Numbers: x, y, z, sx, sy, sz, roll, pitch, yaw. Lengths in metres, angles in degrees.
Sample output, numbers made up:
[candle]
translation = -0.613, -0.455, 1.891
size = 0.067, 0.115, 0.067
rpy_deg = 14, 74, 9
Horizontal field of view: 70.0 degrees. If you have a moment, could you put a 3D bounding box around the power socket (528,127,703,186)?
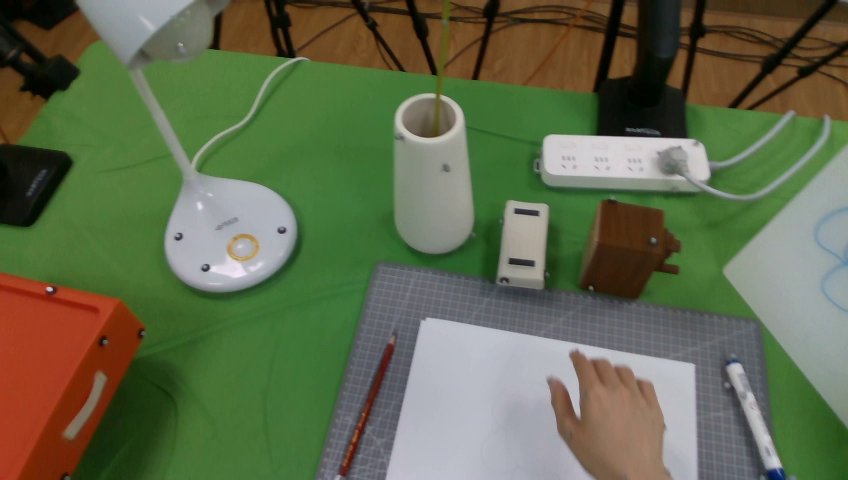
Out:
[power socket]
translation = 0.253, -0.111, 0.801
size = 0.227, 0.033, 0.071
rpy_deg = 3, 59, 3

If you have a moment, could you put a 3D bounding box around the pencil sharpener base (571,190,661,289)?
[pencil sharpener base]
translation = 0.216, 0.003, 0.686
size = 0.076, 0.108, 0.061
rpy_deg = 10, 58, 8

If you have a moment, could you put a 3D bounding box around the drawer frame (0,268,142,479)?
[drawer frame]
translation = -0.428, 0.131, 0.586
size = 0.213, 0.083, 0.200
rpy_deg = 11, 59, 6

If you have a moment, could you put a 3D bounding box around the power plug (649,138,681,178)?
[power plug]
translation = 0.301, -0.097, 0.763
size = 0.035, 0.053, 0.072
rpy_deg = 12, 60, 9

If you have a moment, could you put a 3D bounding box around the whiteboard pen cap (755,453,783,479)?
[whiteboard pen cap]
translation = 0.335, 0.223, 0.588
size = 0.018, 0.018, 0.033
rpy_deg = -6, 58, -2

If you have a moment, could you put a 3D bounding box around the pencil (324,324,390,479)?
[pencil]
translation = -0.069, 0.173, 0.641
size = 0.012, 0.012, 0.193
rpy_deg = 14, 58, 11

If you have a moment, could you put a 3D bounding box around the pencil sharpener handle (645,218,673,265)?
[pencil sharpener handle]
translation = 0.265, 0.005, 0.669
size = 0.030, 0.068, 0.035
rpy_deg = 10, 57, 8

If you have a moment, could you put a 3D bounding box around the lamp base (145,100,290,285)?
[lamp base]
translation = -0.259, -0.063, 0.696
size = 0.177, 0.182, 0.160
rpy_deg = 38, 66, 26

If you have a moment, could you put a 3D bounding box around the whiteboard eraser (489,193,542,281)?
[whiteboard eraser]
translation = 0.112, -0.003, 0.732
size = 0.055, 0.042, 0.112
rpy_deg = 8, 58, 5

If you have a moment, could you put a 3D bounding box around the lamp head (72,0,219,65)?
[lamp head]
translation = -0.220, -0.208, 0.444
size = 0.123, 0.112, 0.112
rpy_deg = 48, 64, -15

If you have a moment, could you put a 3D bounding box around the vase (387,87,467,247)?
[vase]
translation = 0.001, -0.077, 0.688
size = 0.098, 0.202, 0.097
rpy_deg = -1, 57, 3

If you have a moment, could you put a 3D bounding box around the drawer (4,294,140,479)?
[drawer]
translation = -0.422, 0.130, 0.584
size = 0.211, 0.074, 0.193
rpy_deg = 11, 59, 8

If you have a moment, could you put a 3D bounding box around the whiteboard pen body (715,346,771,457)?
[whiteboard pen body]
translation = 0.330, 0.176, 0.621
size = 0.017, 0.017, 0.139
rpy_deg = -6, 57, -2

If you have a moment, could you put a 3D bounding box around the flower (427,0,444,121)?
[flower]
translation = 0.008, -0.135, 0.627
size = 0.038, 0.364, 0.043
rpy_deg = -2, 39, -7

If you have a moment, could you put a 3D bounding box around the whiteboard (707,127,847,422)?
[whiteboard]
translation = 0.487, 0.003, 0.598
size = 0.144, 0.307, 0.215
rpy_deg = -9, 55, -27
